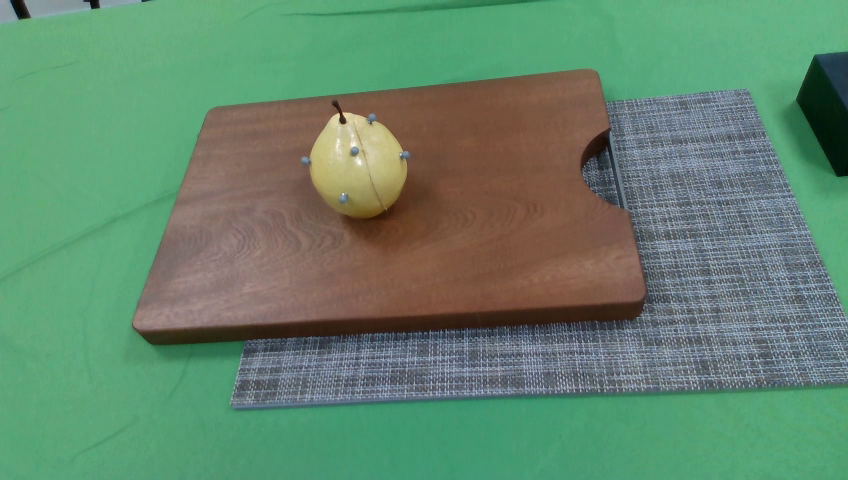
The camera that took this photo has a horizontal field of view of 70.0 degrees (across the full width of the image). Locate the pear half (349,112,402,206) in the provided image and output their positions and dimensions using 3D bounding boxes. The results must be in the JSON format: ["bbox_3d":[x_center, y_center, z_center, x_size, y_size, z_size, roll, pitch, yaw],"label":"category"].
[{"bbox_3d":[-0.035,-0.070,0.494,0.031,0.089,0.069,-16,49,-3],"label":"pear half"}]

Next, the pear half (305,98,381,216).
[{"bbox_3d":[-0.071,-0.068,0.486,0.056,0.111,0.075,-17,49,-2],"label":"pear half"}]
